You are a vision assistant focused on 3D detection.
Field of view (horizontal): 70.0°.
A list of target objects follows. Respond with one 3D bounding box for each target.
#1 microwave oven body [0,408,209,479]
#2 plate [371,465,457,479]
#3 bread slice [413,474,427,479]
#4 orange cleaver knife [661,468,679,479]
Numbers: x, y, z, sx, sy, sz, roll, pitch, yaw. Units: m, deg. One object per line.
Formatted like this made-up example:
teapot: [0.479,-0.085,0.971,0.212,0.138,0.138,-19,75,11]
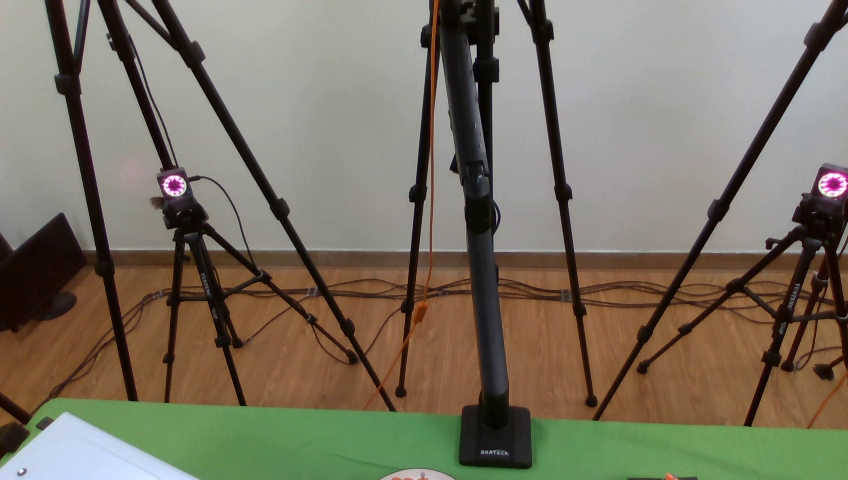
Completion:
microwave oven body: [-0.455,0.473,0.693,0.324,0.262,0.440,14,42,23]
plate: [-0.019,0.433,0.889,0.207,0.039,0.205,-3,37,3]
bread slice: [-0.004,0.395,0.844,0.018,0.135,0.106,-3,41,7]
orange cleaver knife: [0.348,0.419,0.820,0.012,0.078,0.209,-3,66,3]
